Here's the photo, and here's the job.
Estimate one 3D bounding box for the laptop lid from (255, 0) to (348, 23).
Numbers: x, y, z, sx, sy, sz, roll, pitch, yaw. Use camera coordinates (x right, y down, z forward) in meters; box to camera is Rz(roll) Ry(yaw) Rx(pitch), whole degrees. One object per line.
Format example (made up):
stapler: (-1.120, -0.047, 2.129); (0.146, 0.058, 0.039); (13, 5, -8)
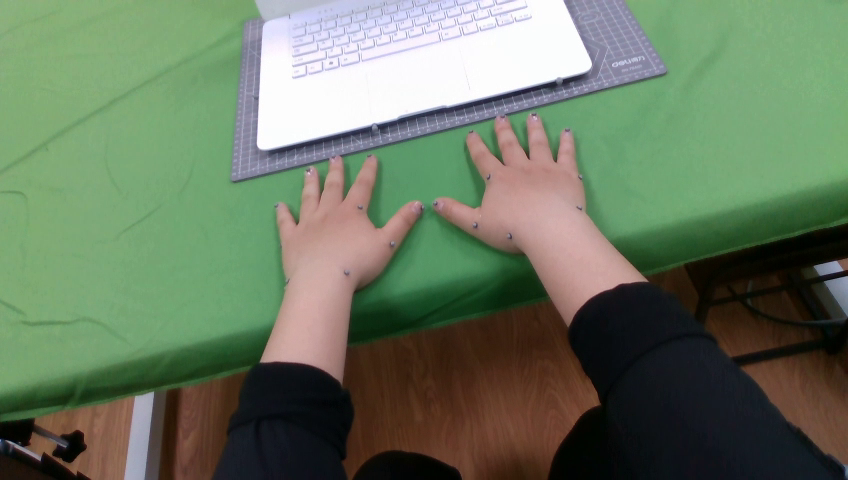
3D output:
laptop lid: (-0.055, -0.390, 0.674); (0.356, 0.244, 0.013); (-14, 44, 6)

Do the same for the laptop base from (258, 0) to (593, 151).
laptop base: (-0.015, -0.216, 0.685); (0.354, 0.023, 0.233); (-13, 55, 4)
